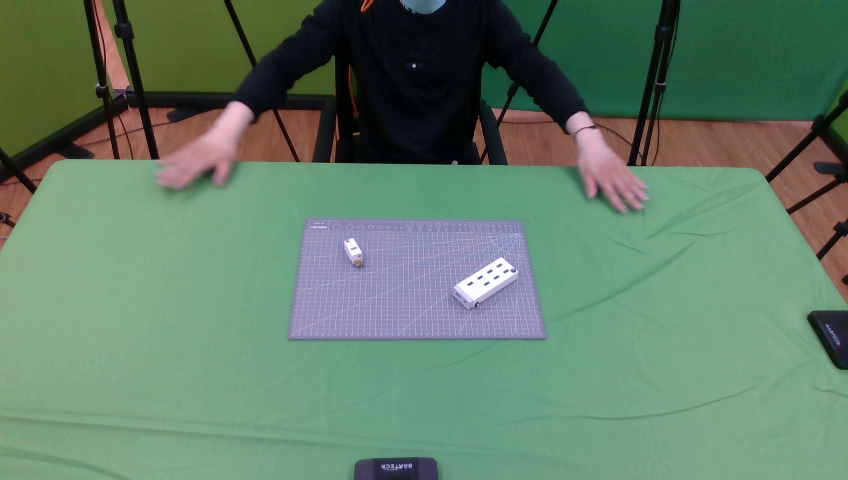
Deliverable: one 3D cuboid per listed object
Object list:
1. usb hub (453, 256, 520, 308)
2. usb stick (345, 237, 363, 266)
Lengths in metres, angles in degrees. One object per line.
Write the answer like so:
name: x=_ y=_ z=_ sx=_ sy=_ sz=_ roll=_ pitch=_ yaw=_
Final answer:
usb hub: x=0.117 y=0.077 z=1.121 sx=0.125 sy=0.025 sz=0.049 roll=-29 pitch=55 yaw=-27
usb stick: x=-0.131 y=0.024 z=1.155 sx=0.021 sy=0.027 sz=0.059 roll=-16 pitch=52 yaw=-20
